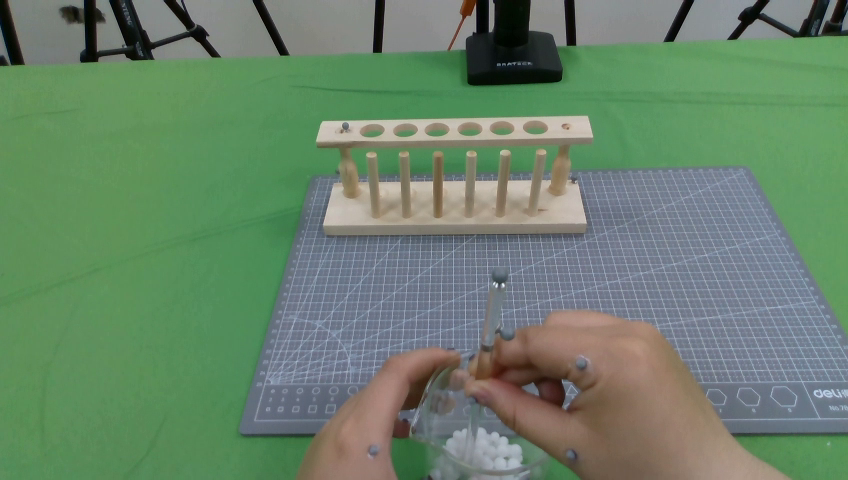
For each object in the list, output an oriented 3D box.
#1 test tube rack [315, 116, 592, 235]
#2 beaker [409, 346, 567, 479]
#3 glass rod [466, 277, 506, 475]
[{"bbox_3d":[0.026,-0.058,0.557,0.242,0.086,0.066,0,44,3],"label":"test tube rack"},{"bbox_3d":[0.033,0.122,0.348,0.084,0.101,0.073,-11,45,-12],"label":"beaker"},{"bbox_3d":[0.030,0.081,0.308,0.008,0.201,0.008,0,49,0],"label":"glass rod"}]
